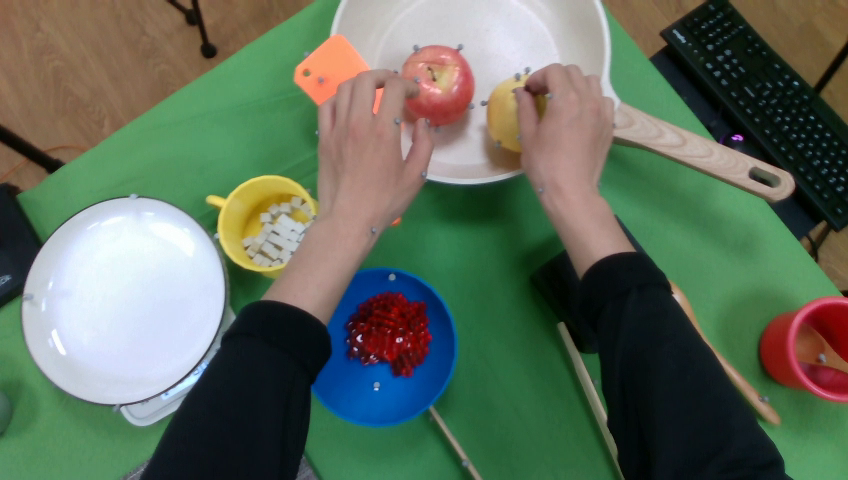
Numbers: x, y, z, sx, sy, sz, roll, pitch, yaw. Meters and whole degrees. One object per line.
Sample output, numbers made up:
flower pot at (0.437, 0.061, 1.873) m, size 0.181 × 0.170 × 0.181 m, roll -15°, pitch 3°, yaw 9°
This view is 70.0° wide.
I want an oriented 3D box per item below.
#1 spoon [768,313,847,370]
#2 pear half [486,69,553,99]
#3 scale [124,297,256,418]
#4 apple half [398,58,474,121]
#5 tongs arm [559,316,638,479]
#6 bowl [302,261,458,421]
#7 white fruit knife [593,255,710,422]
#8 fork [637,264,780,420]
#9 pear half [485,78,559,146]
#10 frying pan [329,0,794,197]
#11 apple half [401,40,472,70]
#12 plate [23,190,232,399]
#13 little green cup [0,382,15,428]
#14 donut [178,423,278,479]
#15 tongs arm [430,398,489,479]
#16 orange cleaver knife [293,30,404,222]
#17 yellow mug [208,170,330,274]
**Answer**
spoon at (0.406, 0.126, 0.555) m, size 0.041 × 0.022 × 0.191 m, roll -39°, pitch 36°, yaw -5°
pear half at (0.098, -0.162, 0.638) m, size 0.070 × 0.088 × 0.031 m, roll -14°, pitch 81°, yaw 5°
scale at (-0.286, 0.072, 0.648) m, size 0.148 × 0.031 × 0.200 m, roll -30°, pitch 81°, yaw -3°
apple half at (0.011, -0.156, 0.648) m, size 0.081 × 0.075 × 0.053 m, roll 6°, pitch 83°, yaw 0°
tongs arm at (0.203, 0.259, 0.595) m, size 0.028 × 0.028 × 0.386 m, roll -19°, pitch 82°, yaw -6°
bowl at (-0.040, 0.101, 0.610) m, size 0.151 × 0.077 × 0.151 m, roll 0°, pitch 81°, yaw 2°
white fruit knife at (0.224, 0.099, 0.599) m, size 0.016 × 0.027 × 0.208 m, roll -36°, pitch 95°, yaw -3°
fork at (0.286, 0.104, 0.603) m, size 0.028 × 0.018 × 0.208 m, roll -43°, pitch 97°, yaw -7°
pear half at (0.103, -0.131, 0.620) m, size 0.076 × 0.110 × 0.055 m, roll -11°, pitch 80°, yaw 4°
frying pan at (0.135, -0.153, 0.632) m, size 0.485 × 0.103 × 0.306 m, roll 27°, pitch 83°, yaw 15°
apple half at (0.015, -0.194, 0.653) m, size 0.081 × 0.081 × 0.032 m, roll 7°, pitch 83°, yaw 4°
plate at (-0.295, 0.054, 0.618) m, size 0.209 × 0.038 × 0.208 m, roll 0°, pitch 80°, yaw 2°
little green cup at (-0.466, 0.175, 0.634) m, size 0.061 × 0.039 × 0.061 m, roll 0°, pitch 80°, yaw 3°
donut at (-0.196, 0.233, 0.607) m, size 0.099 × 0.048 × 0.098 m, roll 0°, pitch 82°, yaw 4°
tongs arm at (0.128, 0.299, 0.591) m, size 0.051 × 0.026 × 0.383 m, roll -34°, pitch 82°, yaw -5°
orange cleaver knife at (-0.062, -0.119, 0.616) m, size 0.077 × 0.012 × 0.210 m, roll -30°, pitch 81°, yaw 0°
yellow mug at (-0.170, -0.023, 0.641) m, size 0.130 × 0.064 × 0.099 m, roll 23°, pitch 82°, yaw 7°
